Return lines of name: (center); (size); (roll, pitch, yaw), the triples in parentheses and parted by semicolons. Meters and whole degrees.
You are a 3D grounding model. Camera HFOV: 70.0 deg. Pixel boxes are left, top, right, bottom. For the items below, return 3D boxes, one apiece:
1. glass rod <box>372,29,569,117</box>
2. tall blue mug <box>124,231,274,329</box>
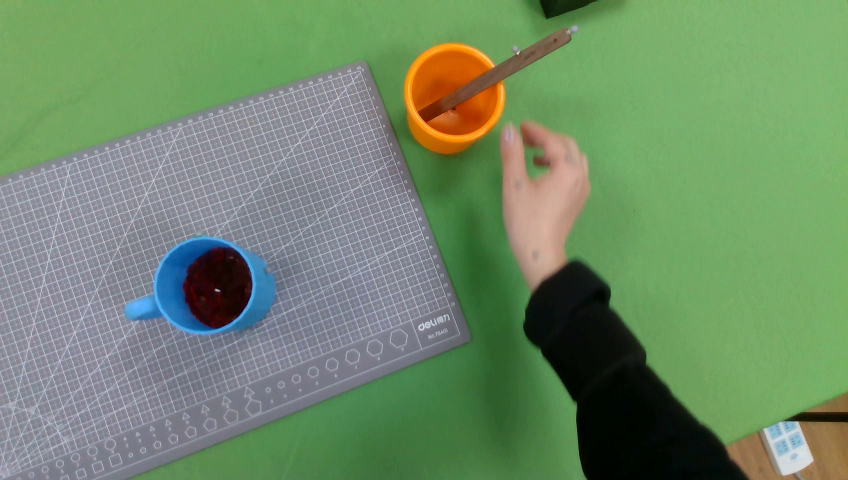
glass rod: (0.036, -0.149, 0.551); (0.199, 0.008, 0.008); (-17, 85, 26)
tall blue mug: (-0.186, 0.047, 0.517); (0.107, 0.108, 0.078); (-45, 91, -9)
